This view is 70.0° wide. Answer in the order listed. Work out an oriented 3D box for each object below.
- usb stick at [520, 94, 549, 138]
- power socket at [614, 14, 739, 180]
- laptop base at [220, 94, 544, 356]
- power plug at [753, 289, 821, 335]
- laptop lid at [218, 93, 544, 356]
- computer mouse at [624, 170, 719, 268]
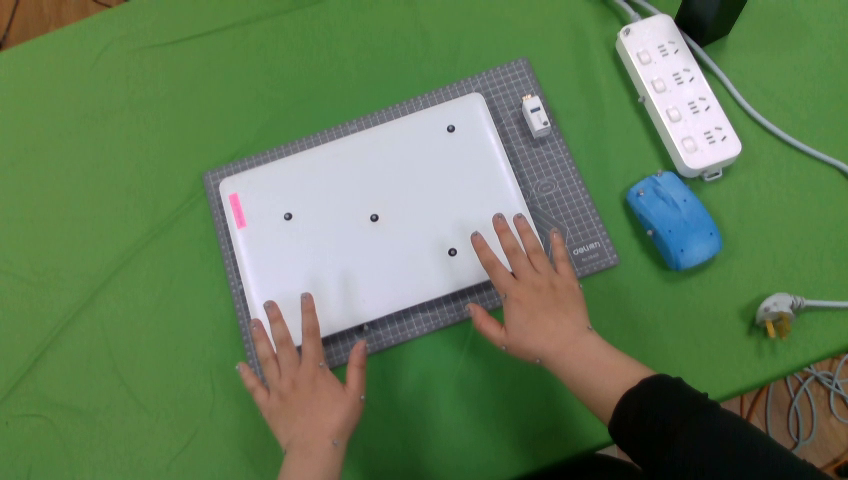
[{"bbox_3d":[0.135,-0.159,0.753,0.021,0.027,0.058,-21,70,4],"label":"usb stick"},{"bbox_3d":[0.304,-0.179,0.739,0.072,0.033,0.225,-19,72,1],"label":"power socket"},{"bbox_3d":[-0.059,-0.024,0.741,0.354,0.023,0.234,-20,75,0],"label":"laptop base"},{"bbox_3d":[0.392,0.076,0.646,0.072,0.035,0.052,-6,51,16],"label":"power plug"},{"bbox_3d":[-0.060,-0.025,0.730,0.357,0.013,0.240,-18,74,1],"label":"laptop lid"},{"bbox_3d":[0.283,-0.028,0.694,0.063,0.041,0.116,-26,68,1],"label":"computer mouse"}]
